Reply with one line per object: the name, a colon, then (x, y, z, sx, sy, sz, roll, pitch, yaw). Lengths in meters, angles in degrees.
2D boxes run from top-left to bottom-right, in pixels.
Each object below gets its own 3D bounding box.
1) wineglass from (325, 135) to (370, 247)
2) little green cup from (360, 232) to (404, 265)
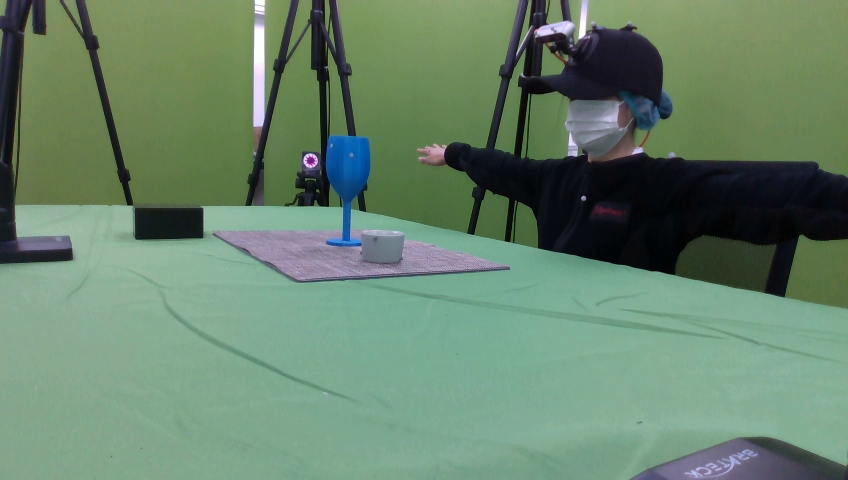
wineglass: (-0.124, -0.078, 0.964, 0.074, 0.172, 0.073, 3, 7, 0)
little green cup: (-0.058, 0.011, 0.821, 0.061, 0.038, 0.061, 2, 8, 0)
